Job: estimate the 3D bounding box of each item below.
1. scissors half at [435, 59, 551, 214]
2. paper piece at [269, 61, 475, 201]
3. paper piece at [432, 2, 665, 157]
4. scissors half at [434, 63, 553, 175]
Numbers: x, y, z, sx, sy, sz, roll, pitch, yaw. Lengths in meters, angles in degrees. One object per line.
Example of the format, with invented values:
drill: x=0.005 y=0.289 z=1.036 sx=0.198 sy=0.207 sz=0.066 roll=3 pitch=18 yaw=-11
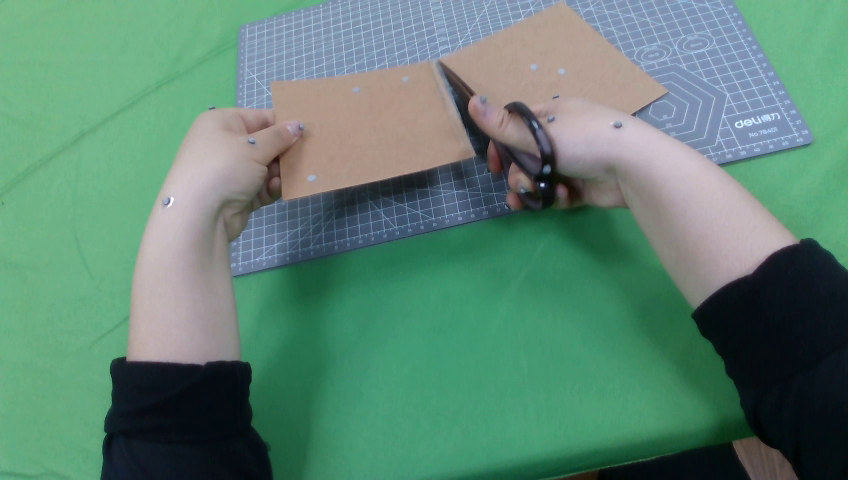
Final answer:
scissors half: x=0.045 y=-0.084 z=0.452 sx=0.013 sy=0.040 sz=0.173 roll=-22 pitch=59 yaw=-11
paper piece: x=-0.045 y=-0.088 z=0.452 sx=0.138 sy=0.009 sz=0.134 roll=-13 pitch=44 yaw=-4
paper piece: x=0.099 y=-0.133 z=0.492 sx=0.135 sy=0.004 sz=0.134 roll=-30 pitch=64 yaw=-14
scissors half: x=0.043 y=-0.098 z=0.437 sx=0.013 sy=0.040 sz=0.173 roll=-19 pitch=38 yaw=-15
